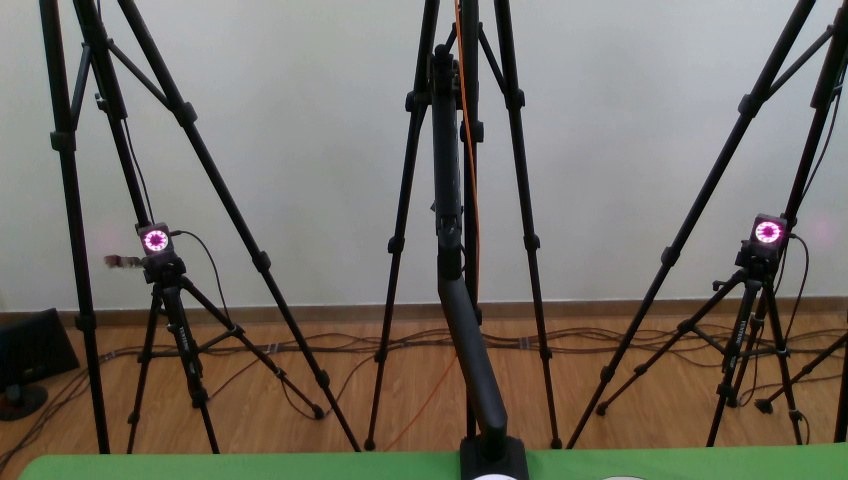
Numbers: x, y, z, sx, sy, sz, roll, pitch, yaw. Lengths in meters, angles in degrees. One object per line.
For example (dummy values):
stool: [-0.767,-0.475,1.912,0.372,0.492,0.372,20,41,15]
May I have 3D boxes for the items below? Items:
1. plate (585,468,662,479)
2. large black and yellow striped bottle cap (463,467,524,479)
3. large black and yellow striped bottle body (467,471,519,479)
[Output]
plate: [0.334,0.461,0.963,0.209,0.038,0.207,-2,32,1]
large black and yellow striped bottle cap: [0.099,0.365,0.831,0.115,0.019,0.114,-1,33,1]
large black and yellow striped bottle body: [0.100,0.437,0.875,0.131,0.185,0.129,-1,32,1]
